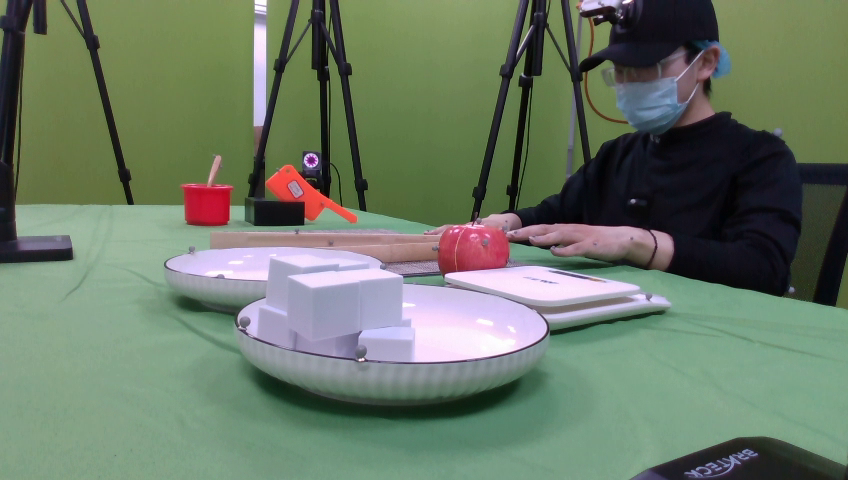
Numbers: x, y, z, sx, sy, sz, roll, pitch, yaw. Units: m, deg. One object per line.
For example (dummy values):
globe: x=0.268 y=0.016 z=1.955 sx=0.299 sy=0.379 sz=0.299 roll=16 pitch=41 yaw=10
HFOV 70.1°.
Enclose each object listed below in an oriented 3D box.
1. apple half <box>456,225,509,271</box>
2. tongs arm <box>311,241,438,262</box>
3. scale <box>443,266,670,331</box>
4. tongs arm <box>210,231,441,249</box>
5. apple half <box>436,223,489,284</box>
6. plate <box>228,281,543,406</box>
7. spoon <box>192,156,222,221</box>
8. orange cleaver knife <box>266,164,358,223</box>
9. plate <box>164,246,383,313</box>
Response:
apple half: x=0.071 y=0.021 z=0.662 sx=0.082 sy=0.081 sz=0.032 roll=-4 pitch=7 yaw=-42
tongs arm: x=-0.070 y=0.017 z=0.801 sx=0.390 sy=0.028 sz=0.028 roll=-2 pitch=4 yaw=-34
scale: x=0.131 y=0.052 z=0.603 sx=0.202 sy=0.031 sz=0.148 roll=-2 pitch=9 yaw=-37
tongs arm: x=-0.105 y=0.004 z=0.876 sx=0.386 sy=0.026 sz=0.050 roll=0 pitch=7 yaw=-20
apple half: x=0.045 y=0.017 z=0.691 sx=0.081 sy=0.074 sz=0.053 roll=-9 pitch=10 yaw=-41
plate: x=-0.025 y=0.067 z=0.413 sx=0.208 sy=0.039 sz=0.207 roll=3 pitch=7 yaw=0
spoon: x=-0.430 y=-0.108 z=1.222 sx=0.041 sy=0.021 sz=0.193 roll=-1 pitch=52 yaw=0
orange cleaver knife: x=-0.237 y=-0.082 z=1.295 sx=0.212 sy=0.077 sz=0.012 roll=35 pitch=-9 yaw=-26
plate: x=-0.145 y=0.038 z=0.600 sx=0.209 sy=0.038 sz=0.209 roll=2 pitch=7 yaw=0
